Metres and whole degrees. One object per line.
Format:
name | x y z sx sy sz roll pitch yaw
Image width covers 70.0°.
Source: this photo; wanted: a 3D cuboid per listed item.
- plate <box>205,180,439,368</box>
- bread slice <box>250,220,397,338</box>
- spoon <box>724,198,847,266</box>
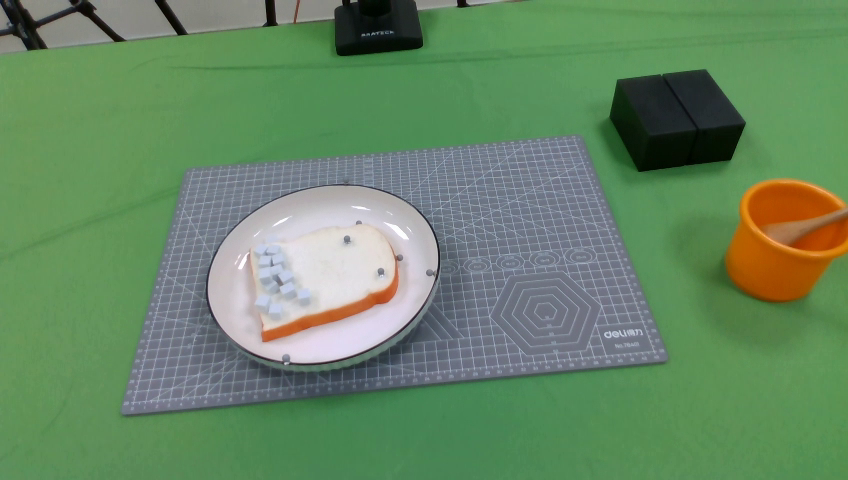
plate | -0.089 0.029 0.552 0.209 0.038 0.207 -1 49 2
bread slice | -0.092 0.026 0.558 0.132 0.019 0.103 -17 51 -10
spoon | 0.341 -0.029 0.499 0.193 0.022 0.041 -30 37 32
